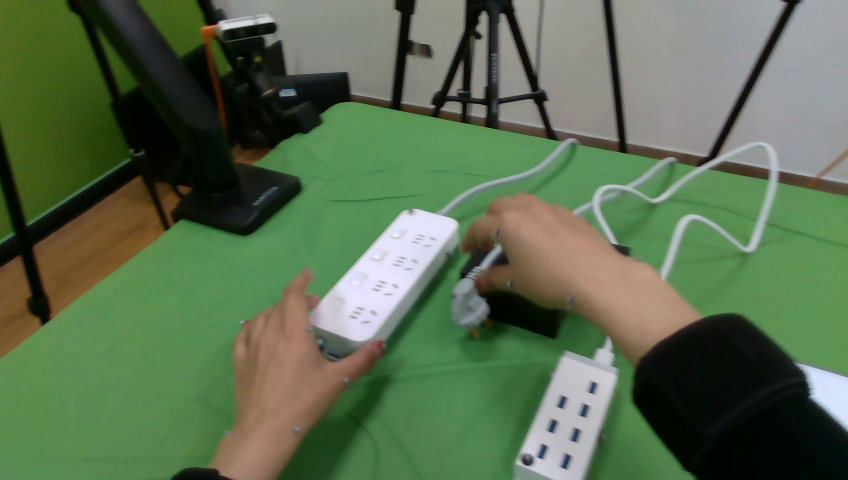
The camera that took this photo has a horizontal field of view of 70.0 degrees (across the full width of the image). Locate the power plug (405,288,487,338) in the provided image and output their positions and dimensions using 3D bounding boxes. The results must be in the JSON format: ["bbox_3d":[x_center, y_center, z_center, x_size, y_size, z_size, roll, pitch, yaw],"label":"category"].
[{"bbox_3d":[0.026,0.072,0.579,0.072,0.053,0.035,-15,22,45],"label":"power plug"}]

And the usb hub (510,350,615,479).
[{"bbox_3d":[0.115,0.145,0.492,0.049,0.025,0.124,16,41,24],"label":"usb hub"}]

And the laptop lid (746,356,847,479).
[{"bbox_3d":[0.395,0.210,0.383,0.354,0.013,0.241,17,44,23],"label":"laptop lid"}]

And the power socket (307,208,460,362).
[{"bbox_3d":[-0.035,0.037,0.631,0.072,0.033,0.226,18,42,22],"label":"power socket"}]

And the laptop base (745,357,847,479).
[{"bbox_3d":[0.397,0.218,0.392,0.352,0.023,0.234,16,45,22],"label":"laptop base"}]

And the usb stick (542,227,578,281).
[{"bbox_3d":[0.127,0.015,0.574,0.021,0.027,0.059,17,44,19],"label":"usb stick"}]
